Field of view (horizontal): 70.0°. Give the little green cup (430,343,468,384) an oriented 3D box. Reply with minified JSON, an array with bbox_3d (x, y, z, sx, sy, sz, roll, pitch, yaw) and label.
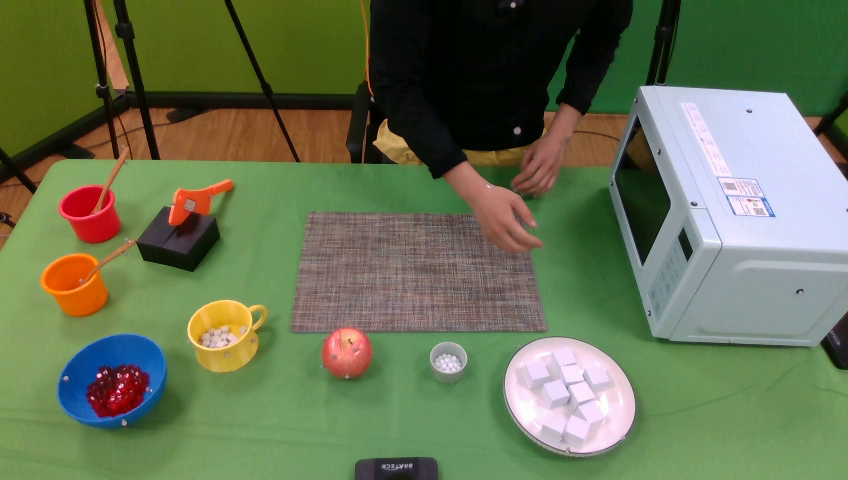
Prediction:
[{"bbox_3d":[0.039,0.203,0.994,0.061,0.039,0.061,2,46,-2],"label":"little green cup"}]

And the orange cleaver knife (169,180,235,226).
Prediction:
[{"bbox_3d":[-0.435,-0.076,1.199,0.012,0.077,0.211,17,17,9],"label":"orange cleaver knife"}]

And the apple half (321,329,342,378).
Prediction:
[{"bbox_3d":[-0.149,0.186,0.972,0.033,0.081,0.080,-2,46,-12],"label":"apple half"}]

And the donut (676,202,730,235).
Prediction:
[{"bbox_3d":[0.538,-0.042,1.170,0.099,0.048,0.098,6,25,-2],"label":"donut"}]

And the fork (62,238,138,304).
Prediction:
[{"bbox_3d":[-0.547,0.053,1.018,0.207,0.019,0.028,-36,41,23],"label":"fork"}]

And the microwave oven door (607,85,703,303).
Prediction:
[{"bbox_3d":[0.423,-0.094,1.140,0.039,0.245,0.353,2,46,-1],"label":"microwave oven door"}]

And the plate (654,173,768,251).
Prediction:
[{"bbox_3d":[0.556,-0.050,1.187,0.209,0.038,0.208,1,46,-1],"label":"plate"}]

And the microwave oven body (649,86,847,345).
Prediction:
[{"bbox_3d":[0.568,-0.053,1.118,0.326,0.261,0.439,2,45,-1],"label":"microwave oven body"}]

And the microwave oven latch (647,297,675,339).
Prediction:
[{"bbox_3d":[0.413,0.134,1.060,0.030,0.029,0.078,5,45,2],"label":"microwave oven latch"}]

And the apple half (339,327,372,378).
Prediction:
[{"bbox_3d":[-0.111,0.182,0.980,0.053,0.075,0.080,-2,42,-12],"label":"apple half"}]

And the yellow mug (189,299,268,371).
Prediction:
[{"bbox_3d":[-0.316,0.148,1.002,0.131,0.064,0.099,-33,56,-31],"label":"yellow mug"}]

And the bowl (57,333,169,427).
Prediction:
[{"bbox_3d":[-0.455,0.223,0.911,0.151,0.077,0.150,3,45,-2],"label":"bowl"}]

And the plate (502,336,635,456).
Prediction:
[{"bbox_3d":[0.225,0.248,0.963,0.208,0.039,0.206,2,46,-2],"label":"plate"}]

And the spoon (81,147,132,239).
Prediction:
[{"bbox_3d":[-0.603,-0.089,1.156,0.041,0.022,0.193,28,94,18],"label":"spoon"}]
